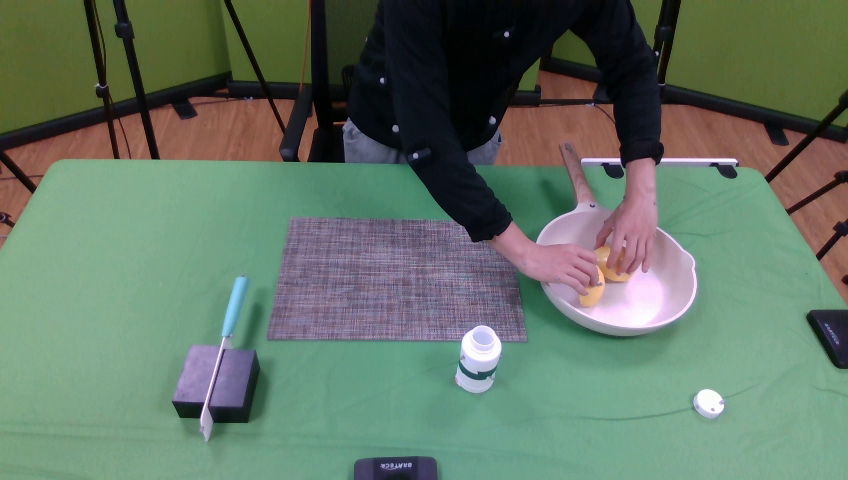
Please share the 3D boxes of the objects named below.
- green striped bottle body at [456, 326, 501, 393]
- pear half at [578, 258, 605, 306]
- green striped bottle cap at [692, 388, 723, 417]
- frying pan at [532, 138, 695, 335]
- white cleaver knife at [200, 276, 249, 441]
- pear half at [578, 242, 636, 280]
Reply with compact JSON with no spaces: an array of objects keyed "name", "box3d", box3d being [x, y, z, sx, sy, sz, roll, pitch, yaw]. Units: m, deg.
[{"name":"green striped bottle body","box3d":[0.086,0.185,0.959,0.063,0.120,0.063,2,46,-2]},{"name":"pear half","box3d":[0.308,0.078,1.092,0.031,0.088,0.070,13,20,39]},{"name":"green striped bottle cap","box3d":[0.460,0.263,0.984,0.044,0.020,0.044,3,47,-3]},{"name":"frying pan","box3d":[0.336,-0.024,1.190,0.307,0.103,0.484,-2,55,-7]},{"name":"white cleaver knife","box3d":[-0.321,0.177,0.972,0.021,0.066,0.284,7,48,-5]},{"name":"pear half","box3d":[0.349,0.030,1.152,0.110,0.056,0.076,12,33,-9]}]
